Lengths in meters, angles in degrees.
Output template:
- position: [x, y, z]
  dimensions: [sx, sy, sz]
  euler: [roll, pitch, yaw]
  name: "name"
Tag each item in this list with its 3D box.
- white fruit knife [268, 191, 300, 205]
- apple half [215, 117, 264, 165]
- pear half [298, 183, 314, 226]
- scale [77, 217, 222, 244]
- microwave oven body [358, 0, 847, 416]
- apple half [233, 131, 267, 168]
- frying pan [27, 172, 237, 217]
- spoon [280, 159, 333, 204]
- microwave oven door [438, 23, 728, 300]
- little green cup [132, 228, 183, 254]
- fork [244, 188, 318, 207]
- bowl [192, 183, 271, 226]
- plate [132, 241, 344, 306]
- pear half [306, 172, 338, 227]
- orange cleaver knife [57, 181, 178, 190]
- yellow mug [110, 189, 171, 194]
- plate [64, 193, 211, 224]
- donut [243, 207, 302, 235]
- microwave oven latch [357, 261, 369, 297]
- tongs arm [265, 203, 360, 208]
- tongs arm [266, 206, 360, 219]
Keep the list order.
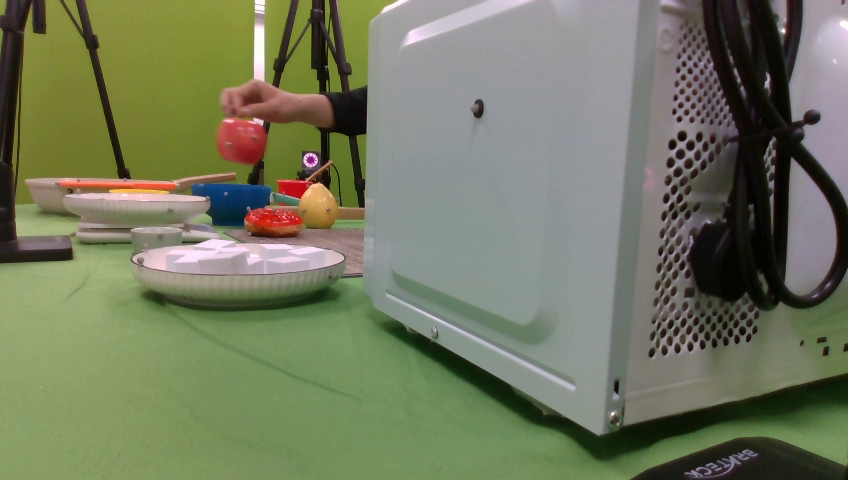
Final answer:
- position: [-0.364, -0.105, 1.464]
  dimensions: [0.208, 0.027, 0.016]
  euler: [15, -1, -34]
  name: "white fruit knife"
- position: [-0.313, -0.166, 1.003]
  dimensions: [0.080, 0.074, 0.053]
  euler: [14, 4, 17]
  name: "apple half"
- position: [-0.235, -0.071, 1.207]
  dimensions: [0.031, 0.088, 0.070]
  euler: [3, 10, 0]
  name: "pear half"
- position: [-0.434, -0.018, 0.963]
  dimensions: [0.202, 0.031, 0.148]
  euler: [-1, 8, -27]
  name: "scale"
- position: [0.211, -0.047, 0.474]
  dimensions: [0.444, 0.260, 0.324]
  euler: [-1, 7, -28]
  name: "microwave oven body"
- position: [-0.301, -0.162, 1.042]
  dimensions: [0.081, 0.081, 0.033]
  euler: [4, 12, 12]
  name: "apple half"
- position: [-0.624, -0.118, 1.387]
  dimensions: [0.305, 0.102, 0.490]
  euler: [8, 17, 32]
  name: "frying pan"
- position: [-0.317, -0.159, 1.640]
  dimensions: [0.194, 0.022, 0.041]
  euler: [-49, 32, -20]
  name: "spoon"
- position: [0.181, -0.073, 0.621]
  dimensions: [0.358, 0.243, 0.039]
  euler: [-2, 8, -29]
  name: "microwave oven door"
- position: [-0.342, 0.006, 0.779]
  dimensions: [0.061, 0.038, 0.061]
  euler: [2, 8, 0]
  name: "little green cup"
- position: [-0.356, -0.105, 1.526]
  dimensions: [0.208, 0.018, 0.028]
  euler: [16, -6, -41]
  name: "fork"
- position: [-0.382, -0.070, 1.202]
  dimensions: [0.151, 0.077, 0.151]
  euler: [3, 7, 0]
  name: "bowl"
- position: [-0.187, 0.033, 0.625]
  dimensions: [0.208, 0.039, 0.207]
  euler: [2, 7, 0]
  name: "plate"
- position: [-0.199, -0.079, 1.203]
  dimensions: [0.056, 0.110, 0.076]
  euler: [3, 11, 1]
  name: "pear half"
- position: [-0.600, -0.109, 1.189]
  dimensions: [0.212, 0.012, 0.077]
  euler: [-1, 11, -26]
  name: "orange cleaver knife"
- position: [-0.519, -0.055, 1.081]
  dimensions: [0.099, 0.064, 0.131]
  euler: [7, 10, 26]
  name: "yellow mug"
- position: [-0.446, -0.051, 0.951]
  dimensions: [0.209, 0.038, 0.209]
  euler: [2, 7, 0]
  name: "plate"
- position: [-0.261, -0.032, 1.044]
  dimensions: [0.099, 0.048, 0.099]
  euler: [4, 9, 0]
  name: "donut"
- position: [-0.019, 0.033, 0.530]
  dimensions: [0.079, 0.029, 0.030]
  euler: [-1, 7, -26]
  name: "microwave oven latch"
- position: [-0.210, -0.069, 1.440]
  dimensions: [0.389, 0.027, 0.028]
  euler: [1, 0, -17]
  name: "tongs arm"
- position: [-0.173, -0.061, 1.362]
  dimensions: [0.387, 0.026, 0.050]
  euler: [-1, 4, -31]
  name: "tongs arm"
